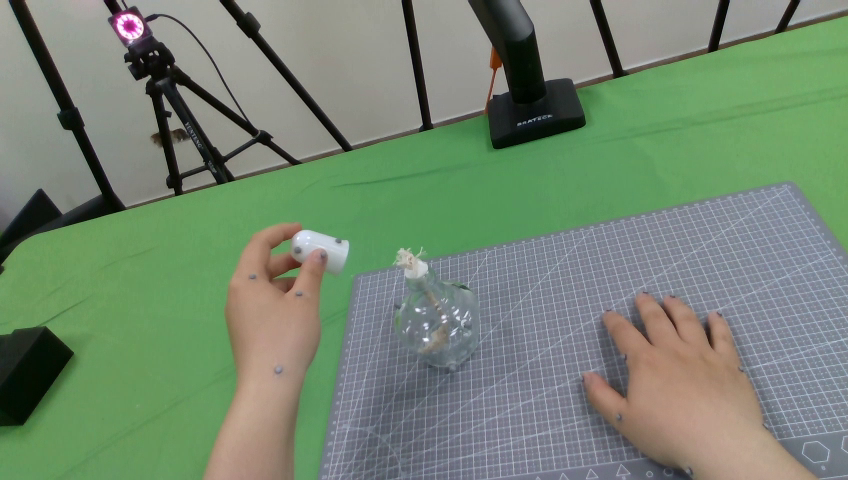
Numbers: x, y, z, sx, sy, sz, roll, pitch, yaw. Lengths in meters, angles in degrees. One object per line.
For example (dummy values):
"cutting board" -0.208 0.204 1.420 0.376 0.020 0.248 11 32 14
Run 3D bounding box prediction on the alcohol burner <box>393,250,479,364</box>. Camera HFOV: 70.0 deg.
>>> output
"alcohol burner" 0.006 0.052 0.519 0.078 0.120 0.077 -12 40 10

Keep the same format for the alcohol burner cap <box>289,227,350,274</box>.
"alcohol burner cap" -0.087 0.006 0.499 0.034 0.048 0.033 -44 35 43
